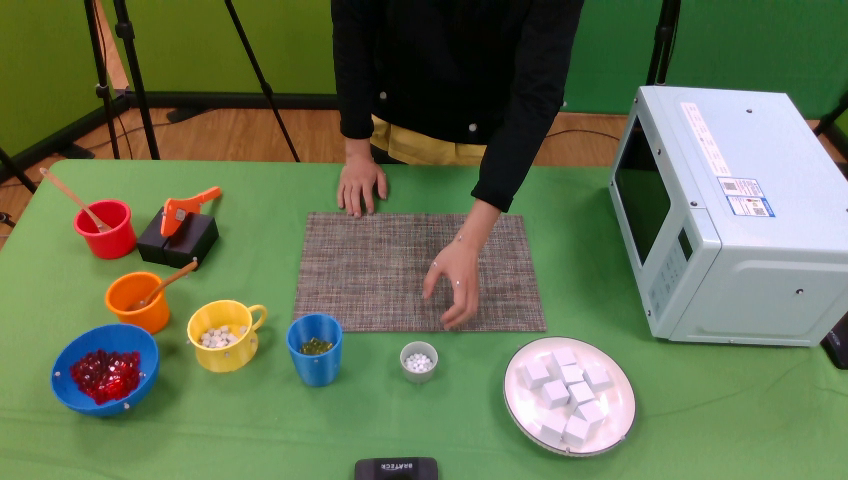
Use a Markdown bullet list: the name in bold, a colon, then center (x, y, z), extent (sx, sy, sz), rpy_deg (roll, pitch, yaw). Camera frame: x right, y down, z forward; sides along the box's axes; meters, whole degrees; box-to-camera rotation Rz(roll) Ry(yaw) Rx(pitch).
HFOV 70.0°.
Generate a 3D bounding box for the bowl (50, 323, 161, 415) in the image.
- **bowl**: center (-0.472, 0.209, 0.924), extent (0.151, 0.077, 0.150), rpy_deg (3, 45, -2)

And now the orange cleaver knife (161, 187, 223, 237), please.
- **orange cleaver knife**: center (-0.448, -0.058, 1.181), extent (0.012, 0.077, 0.211), rpy_deg (13, 17, 6)

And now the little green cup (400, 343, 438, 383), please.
- **little green cup**: center (-0.010, 0.202, 0.991), extent (0.061, 0.039, 0.061), rpy_deg (2, 47, -2)

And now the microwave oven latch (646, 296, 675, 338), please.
- **microwave oven latch**: center (0.412, 0.134, 1.061), extent (0.030, 0.029, 0.078), rpy_deg (4, 45, 1)

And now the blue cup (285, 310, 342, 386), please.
- **blue cup**: center (-0.170, 0.179, 0.958), extent (0.093, 0.101, 0.092), rpy_deg (1, 44, -1)

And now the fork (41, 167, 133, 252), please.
- **fork**: center (-0.624, -0.056, 1.121), extent (0.208, 0.018, 0.028), rpy_deg (49, 51, -15)

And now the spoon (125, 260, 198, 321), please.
- **spoon**: center (-0.434, 0.083, 1.000), extent (0.022, 0.194, 0.041), rpy_deg (35, 34, -34)

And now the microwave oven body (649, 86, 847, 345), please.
- **microwave oven body**: center (0.568, -0.053, 1.118), extent (0.326, 0.261, 0.439), rpy_deg (2, 45, -1)

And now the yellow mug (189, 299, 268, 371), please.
- **yellow mug**: center (-0.316, 0.148, 1.002), extent (0.131, 0.064, 0.099), rpy_deg (-32, 56, -31)

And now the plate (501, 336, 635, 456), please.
- **plate**: center (0.225, 0.248, 0.963), extent (0.208, 0.039, 0.206), rpy_deg (2, 46, -2)

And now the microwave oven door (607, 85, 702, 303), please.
- **microwave oven door**: center (0.423, -0.094, 1.141), extent (0.039, 0.245, 0.353), rpy_deg (2, 46, -1)
